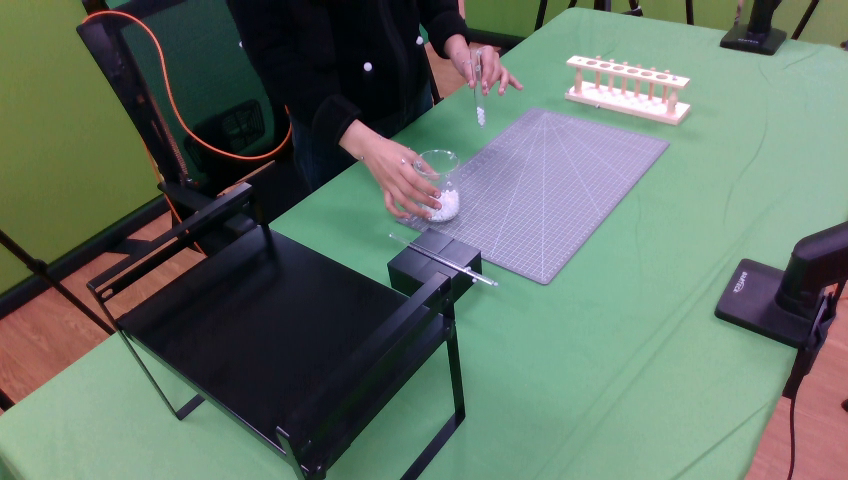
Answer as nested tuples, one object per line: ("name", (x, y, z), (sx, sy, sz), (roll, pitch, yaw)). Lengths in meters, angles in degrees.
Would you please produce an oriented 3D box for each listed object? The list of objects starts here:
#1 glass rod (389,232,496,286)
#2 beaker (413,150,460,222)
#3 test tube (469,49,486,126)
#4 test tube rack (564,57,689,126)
("glass rod", (0.022, 0.026, 0.878), (0.198, 0.008, 0.008), (25, 50, 33))
("beaker", (0.025, -0.087, 0.992), (0.073, 0.100, 0.084), (28, 49, 32))
("test tube", (0.095, -0.267, 1.072), (0.017, 0.151, 0.017), (-6, 43, 6))
("test tube rack", (0.411, -0.311, 1.230), (0.240, 0.085, 0.067), (23, 49, 32))
